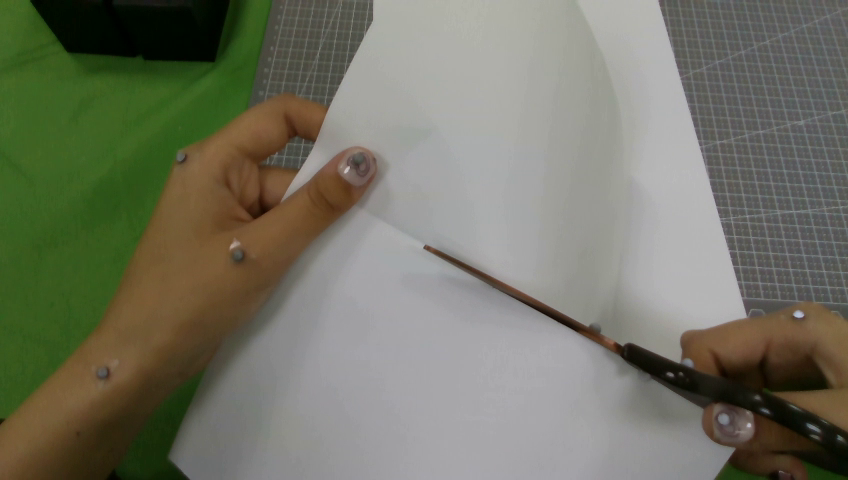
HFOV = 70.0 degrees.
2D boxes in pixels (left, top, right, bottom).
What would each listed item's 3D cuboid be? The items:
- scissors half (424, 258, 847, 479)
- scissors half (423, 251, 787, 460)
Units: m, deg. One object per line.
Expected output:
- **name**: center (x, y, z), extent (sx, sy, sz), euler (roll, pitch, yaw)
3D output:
- **scissors half**: center (0.075, 0.043, 0.227), extent (0.174, 0.040, 0.013), euler (25, 78, 21)
- **scissors half**: center (0.076, 0.046, 0.250), extent (0.176, 0.040, 0.013), euler (29, 84, -9)
